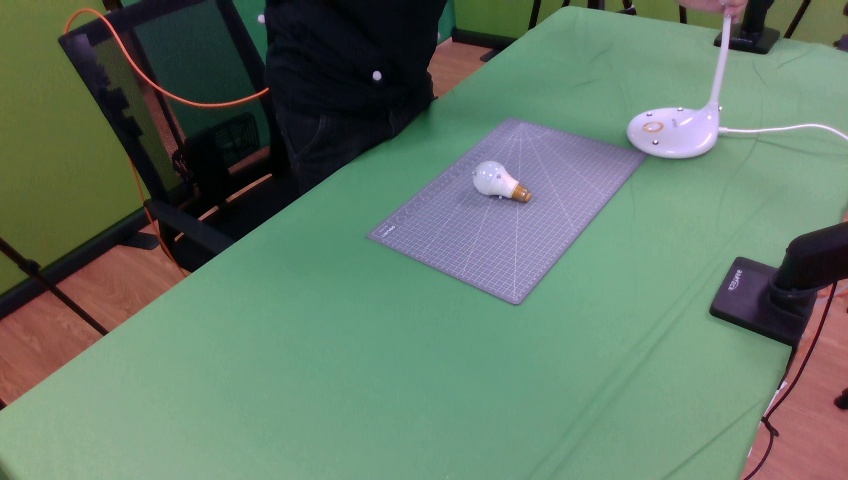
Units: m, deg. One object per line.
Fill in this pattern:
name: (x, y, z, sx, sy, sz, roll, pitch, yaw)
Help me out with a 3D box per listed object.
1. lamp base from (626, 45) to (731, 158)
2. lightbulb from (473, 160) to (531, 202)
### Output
lamp base: (0.468, -0.262, 1.085, 0.179, 0.181, 0.159, -4, 41, -1)
lightbulb: (0.135, -0.097, 1.038, 0.107, 0.059, 0.059, 29, 50, 15)
